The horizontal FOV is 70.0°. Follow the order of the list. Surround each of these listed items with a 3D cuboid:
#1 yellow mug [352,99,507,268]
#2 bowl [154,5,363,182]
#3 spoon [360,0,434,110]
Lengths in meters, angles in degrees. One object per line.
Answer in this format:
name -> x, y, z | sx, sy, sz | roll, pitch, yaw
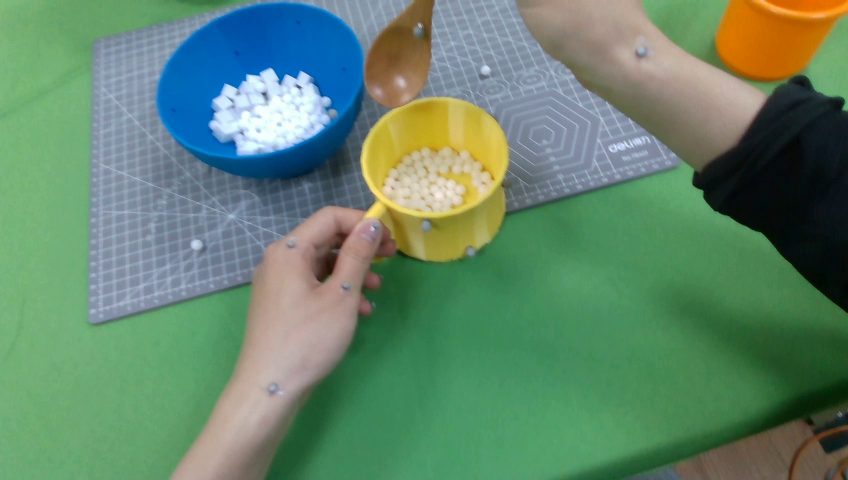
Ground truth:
yellow mug -> -0.002, -0.030, 0.425 | 0.099, 0.064, 0.130 | 37, 71, 22
bowl -> -0.115, -0.097, 0.464 | 0.151, 0.077, 0.150 | -2, 61, 4
spoon -> 0.009, -0.152, 0.339 | 0.042, 0.194, 0.021 | 28, 46, -6
